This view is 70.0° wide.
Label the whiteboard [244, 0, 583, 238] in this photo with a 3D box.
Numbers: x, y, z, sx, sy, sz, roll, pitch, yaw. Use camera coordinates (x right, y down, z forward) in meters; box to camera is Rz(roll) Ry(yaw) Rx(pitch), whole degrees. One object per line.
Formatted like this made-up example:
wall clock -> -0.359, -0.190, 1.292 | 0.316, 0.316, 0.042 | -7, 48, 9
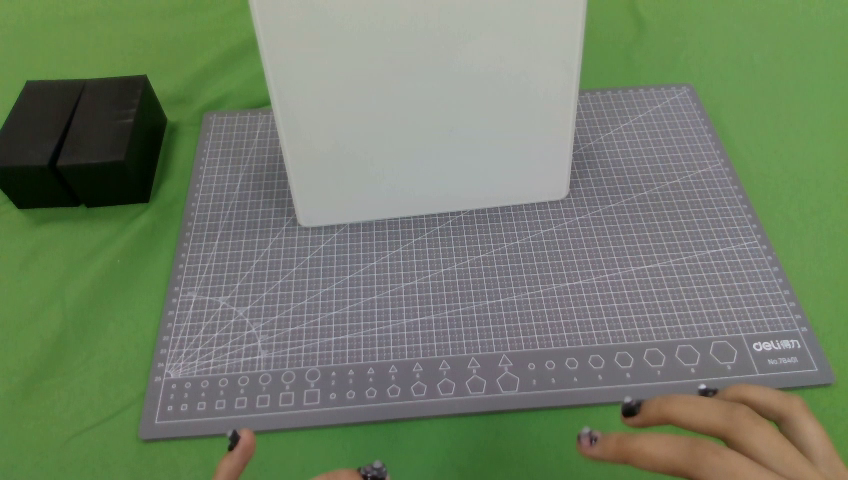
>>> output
whiteboard -> -0.008, -0.177, 0.446 | 0.217, 0.308, 0.142 | -6, 35, -3
